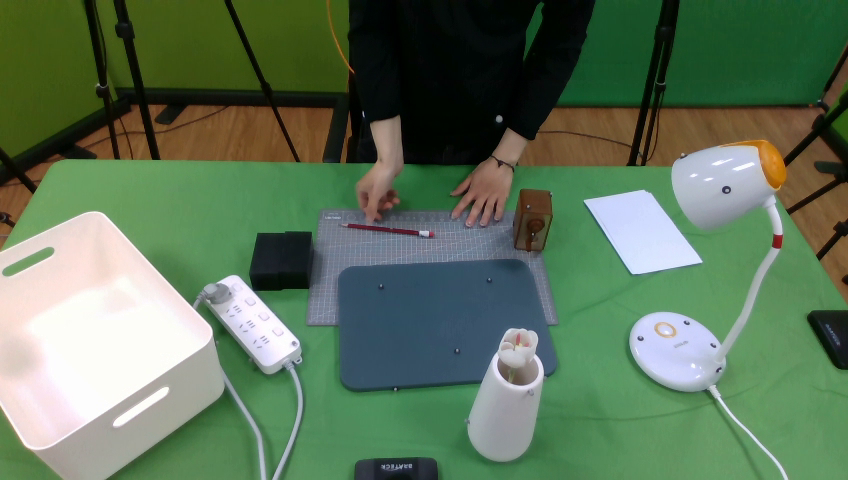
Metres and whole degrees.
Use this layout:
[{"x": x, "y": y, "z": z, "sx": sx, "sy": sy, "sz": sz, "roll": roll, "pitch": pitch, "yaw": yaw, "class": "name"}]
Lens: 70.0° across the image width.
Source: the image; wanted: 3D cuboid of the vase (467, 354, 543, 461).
[{"x": 0.116, "y": 0.234, "z": 0.861, "sx": 0.098, "sy": 0.201, "sz": 0.097, "roll": 1, "pitch": 47, "yaw": -1, "class": "vase"}]

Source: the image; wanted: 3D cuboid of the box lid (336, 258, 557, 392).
[{"x": 0.030, "y": 0.140, "z": 1.073, "sx": 0.372, "sy": 0.015, "sz": 0.261, "roll": -3, "pitch": 47, "yaw": -7, "class": "box lid"}]

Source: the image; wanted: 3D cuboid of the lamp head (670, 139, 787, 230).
[{"x": 0.415, "y": -0.079, "z": 0.812, "sx": 0.113, "sy": 0.123, "sz": 0.112, "roll": 13, "pitch": 70, "yaw": -37, "class": "lamp head"}]

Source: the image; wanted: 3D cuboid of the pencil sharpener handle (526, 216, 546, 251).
[{"x": 0.208, "y": -0.010, "z": 1.143, "sx": 0.036, "sy": 0.068, "sz": 0.030, "roll": 10, "pitch": 46, "yaw": -5, "class": "pencil sharpener handle"}]

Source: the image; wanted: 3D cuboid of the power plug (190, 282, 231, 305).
[{"x": -0.368, "y": 0.098, "z": 1.039, "sx": 0.072, "sy": 0.053, "sz": 0.035, "roll": -26, "pitch": 55, "yaw": -20, "class": "power plug"}]

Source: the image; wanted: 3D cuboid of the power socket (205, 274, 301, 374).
[{"x": -0.296, "y": 0.140, "z": 1.035, "sx": 0.072, "sy": 0.033, "sz": 0.225, "roll": -32, "pitch": 57, "yaw": -29, "class": "power socket"}]

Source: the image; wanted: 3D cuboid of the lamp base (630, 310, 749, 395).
[{"x": 0.447, "y": 0.142, "z": 0.984, "sx": 0.161, "sy": 0.181, "sz": 0.178, "roll": -24, "pitch": 55, "yaw": -24, "class": "lamp base"}]

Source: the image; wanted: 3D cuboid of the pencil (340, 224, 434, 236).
[{"x": -0.076, "y": -0.021, "z": 1.220, "sx": 0.194, "sy": 0.012, "sz": 0.012, "roll": 5, "pitch": 46, "yaw": 4, "class": "pencil"}]

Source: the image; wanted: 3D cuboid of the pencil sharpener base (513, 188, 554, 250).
[{"x": 0.213, "y": -0.038, "z": 1.187, "sx": 0.061, "sy": 0.107, "sz": 0.076, "roll": 5, "pitch": 47, "yaw": 1, "class": "pencil sharpener base"}]

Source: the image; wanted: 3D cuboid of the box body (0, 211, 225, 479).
[{"x": -0.504, "y": 0.154, "z": 0.916, "sx": 0.362, "sy": 0.161, "sz": 0.254, "roll": 36, "pitch": 54, "yaw": 27, "class": "box body"}]

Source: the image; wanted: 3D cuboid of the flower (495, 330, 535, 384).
[{"x": 0.110, "y": 0.188, "z": 0.791, "sx": 0.044, "sy": 0.363, "sz": 0.038, "roll": -31, "pitch": 65, "yaw": -10, "class": "flower"}]
